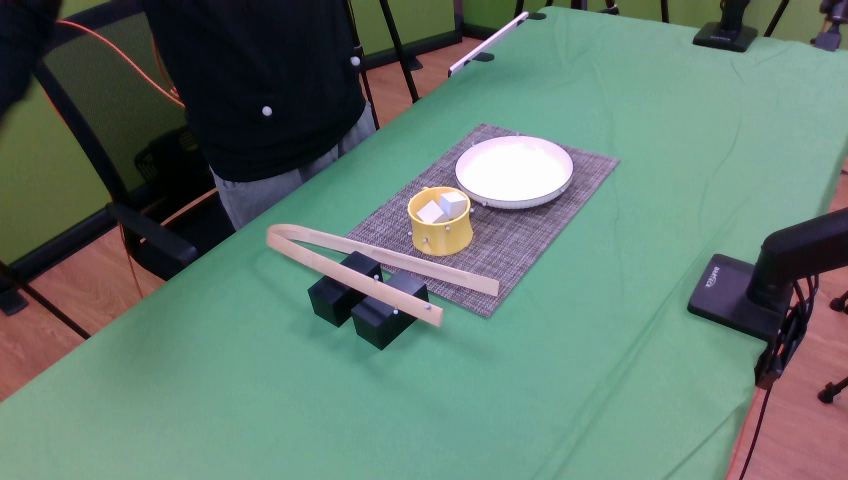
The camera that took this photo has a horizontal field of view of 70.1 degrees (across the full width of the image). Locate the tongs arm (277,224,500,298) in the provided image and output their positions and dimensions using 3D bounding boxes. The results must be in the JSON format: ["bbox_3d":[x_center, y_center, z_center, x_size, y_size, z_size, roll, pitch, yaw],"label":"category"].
[{"bbox_3d":[-0.065,0.028,0.932,0.385,0.028,0.028,14,23,22],"label":"tongs arm"}]

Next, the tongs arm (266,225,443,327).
[{"bbox_3d":[-0.112,0.042,0.866,0.381,0.026,0.051,19,22,35],"label":"tongs arm"}]

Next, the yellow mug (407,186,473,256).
[{"bbox_3d":[0.021,-0.041,0.973,0.100,0.064,0.129,-19,41,-12],"label":"yellow mug"}]

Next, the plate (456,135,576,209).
[{"bbox_3d":[0.161,-0.116,1.064,0.207,0.039,0.206,-4,40,4],"label":"plate"}]
